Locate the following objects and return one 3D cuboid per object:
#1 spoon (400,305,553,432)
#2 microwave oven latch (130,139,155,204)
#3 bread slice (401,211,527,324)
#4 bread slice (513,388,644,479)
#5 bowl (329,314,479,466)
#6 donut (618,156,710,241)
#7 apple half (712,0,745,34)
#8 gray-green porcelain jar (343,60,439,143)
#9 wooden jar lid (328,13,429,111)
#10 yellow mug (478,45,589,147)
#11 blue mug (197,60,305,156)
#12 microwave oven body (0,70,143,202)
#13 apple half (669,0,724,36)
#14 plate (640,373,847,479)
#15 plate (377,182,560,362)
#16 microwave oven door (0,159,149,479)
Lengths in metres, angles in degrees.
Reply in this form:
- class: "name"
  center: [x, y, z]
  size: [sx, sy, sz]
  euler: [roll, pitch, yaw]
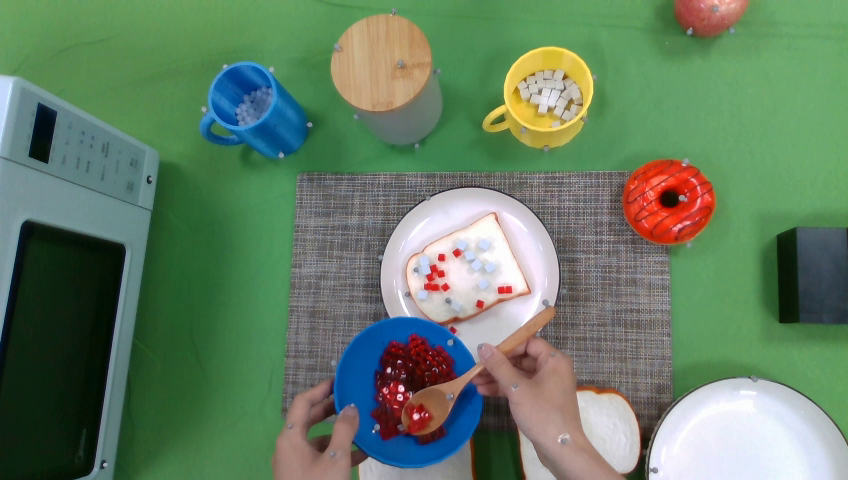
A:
- class: "spoon"
  center: [0.051, 0.127, 0.601]
  size: [0.194, 0.022, 0.041]
  euler: [-42, 67, 16]
- class: "microwave oven latch"
  center: [-0.360, -0.086, 0.762]
  size: [0.030, 0.029, 0.079]
  euler: [6, 83, 8]
- class: "bread slice"
  center: [0.041, 0.039, 0.706]
  size: [0.131, 0.019, 0.104]
  euler: [-25, 78, 1]
- class: "bread slice"
  center: [0.167, 0.212, 0.638]
  size: [0.135, 0.018, 0.106]
  euler: [-4, 77, -13]
- class: "bowl"
  center: [-0.026, 0.160, 0.624]
  size: [0.152, 0.077, 0.150]
  euler: [7, 60, -12]
- class: "donut"
  center: [0.268, -0.047, 0.681]
  size: [0.099, 0.048, 0.098]
  euler: [-1, 82, 8]
- class: "apple half"
  center: [0.335, -0.283, 0.694]
  size: [0.053, 0.075, 0.080]
  euler: [-31, 75, -3]
- class: "gray-green porcelain jar"
  center: [-0.038, -0.176, 0.704]
  size: [0.106, 0.127, 0.105]
  euler: [-1, 81, 8]
- class: "wooden jar lid"
  center: [-0.048, -0.186, 0.643]
  size: [0.108, 0.021, 0.108]
  euler: [-2, 80, 8]
- class: "yellow mug"
  center: [0.125, -0.160, 0.710]
  size: [0.131, 0.064, 0.099]
  euler: [-23, 79, 5]
- class: "blue mug"
  center: [-0.216, -0.150, 0.735]
  size: [0.116, 0.106, 0.082]
  euler: [-25, 79, 4]
- class: "microwave oven body"
  center: [-0.536, 0.064, 0.666]
  size: [0.325, 0.261, 0.440]
  euler: [4, 83, 8]
- class: "apple half"
  center: [0.302, -0.261, 0.694]
  size: [0.033, 0.081, 0.081]
  euler: [-32, 78, -2]
- class: "plate"
  center: [0.333, 0.244, 0.637]
  size: [0.209, 0.038, 0.208]
  euler: [-1, 82, 8]
- class: "plate"
  center: [0.051, 0.038, 0.702]
  size: [0.207, 0.039, 0.207]
  euler: [-1, 82, 8]
- class: "microwave oven door"
  center: [-0.397, 0.115, 0.634]
  size: [0.039, 0.245, 0.354]
  euler: [4, 82, 9]
